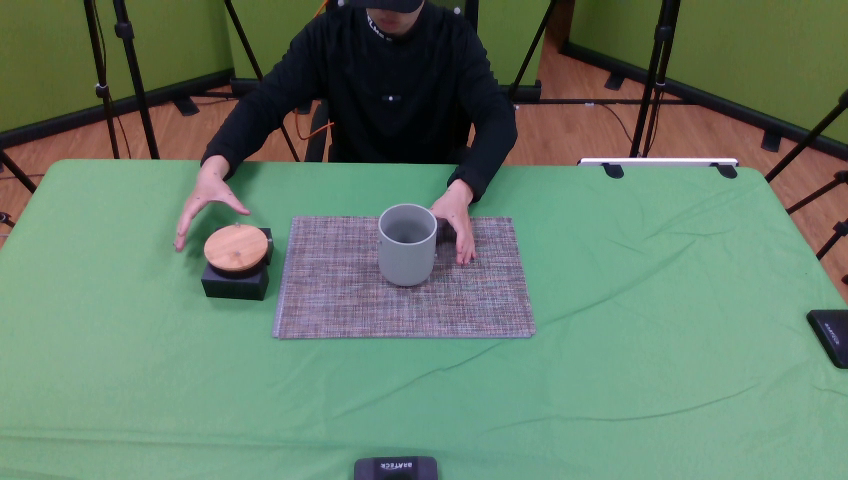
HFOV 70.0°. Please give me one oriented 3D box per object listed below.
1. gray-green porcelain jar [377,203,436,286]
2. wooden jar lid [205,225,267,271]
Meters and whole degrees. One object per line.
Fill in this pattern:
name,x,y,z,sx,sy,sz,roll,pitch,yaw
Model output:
gray-green porcelain jar,-0.033,0.014,1.105,0.106,0.127,0.105,2,46,-2
wooden jar lid,-0.337,0.016,1.091,0.108,0.021,0.107,2,45,-2
